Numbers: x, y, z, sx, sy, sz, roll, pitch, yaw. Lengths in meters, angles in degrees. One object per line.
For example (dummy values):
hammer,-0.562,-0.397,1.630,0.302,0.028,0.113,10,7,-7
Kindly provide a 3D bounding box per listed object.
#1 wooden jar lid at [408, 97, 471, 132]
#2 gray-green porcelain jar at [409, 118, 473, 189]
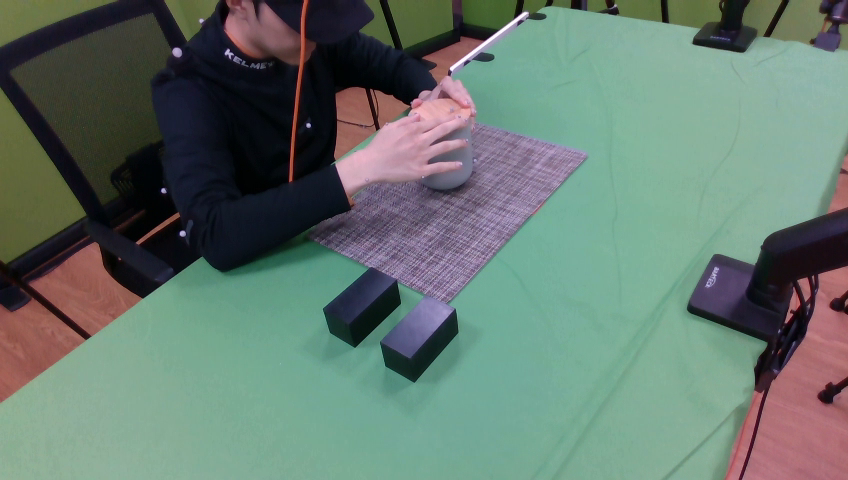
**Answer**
wooden jar lid,0.027,-0.208,1.028,0.108,0.021,0.108,-5,40,5
gray-green porcelain jar,0.032,-0.162,1.068,0.106,0.127,0.105,-4,41,4
